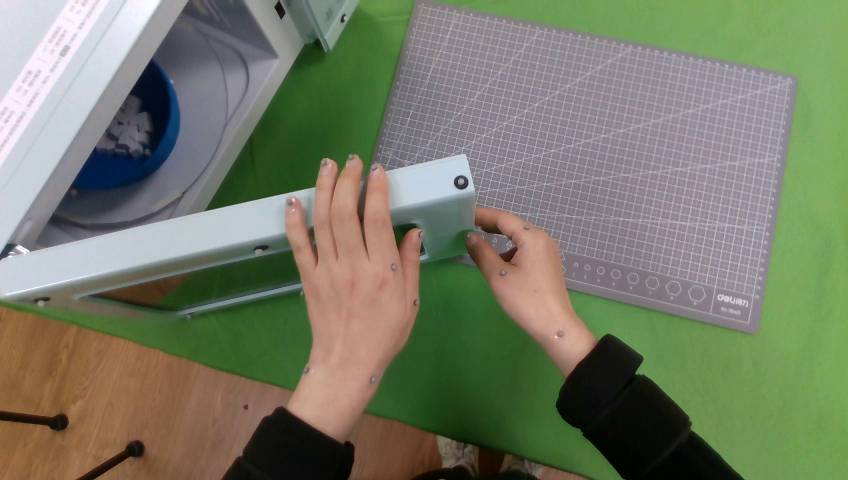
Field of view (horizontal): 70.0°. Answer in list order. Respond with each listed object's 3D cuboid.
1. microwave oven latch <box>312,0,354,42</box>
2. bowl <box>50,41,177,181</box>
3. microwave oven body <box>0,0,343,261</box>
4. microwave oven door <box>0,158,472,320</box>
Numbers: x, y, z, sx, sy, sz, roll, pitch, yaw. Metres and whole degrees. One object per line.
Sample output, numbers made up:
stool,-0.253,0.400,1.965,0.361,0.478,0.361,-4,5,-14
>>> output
microwave oven latch,-0.103,-0.272,0.700,0.030,0.029,0.079,29,83,8
bowl,-0.314,-0.122,0.618,0.151,0.077,0.150,-1,77,5
microwave oven body,-0.324,-0.204,0.602,0.325,0.261,0.441,28,83,7
microwave oven door,-0.132,0.010,0.547,0.356,0.245,0.039,-13,78,1
